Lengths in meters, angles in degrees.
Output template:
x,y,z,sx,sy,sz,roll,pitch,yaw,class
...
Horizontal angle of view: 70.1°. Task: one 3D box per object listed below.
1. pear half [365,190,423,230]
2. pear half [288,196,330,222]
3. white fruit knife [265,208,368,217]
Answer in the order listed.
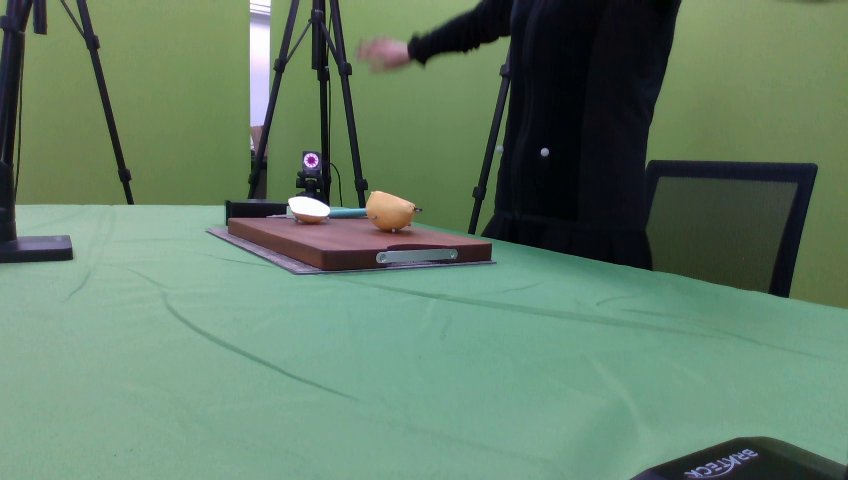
x,y,z,sx,sy,sz,roll,pitch,yaw,class
-0.045,-0.042,0.955,0.077,0.056,0.109,20,-9,-41,pear half
-0.202,-0.048,1.041,0.070,0.031,0.088,20,25,14,pear half
-0.192,-0.050,1.129,0.208,0.016,0.027,-4,-6,-25,white fruit knife
